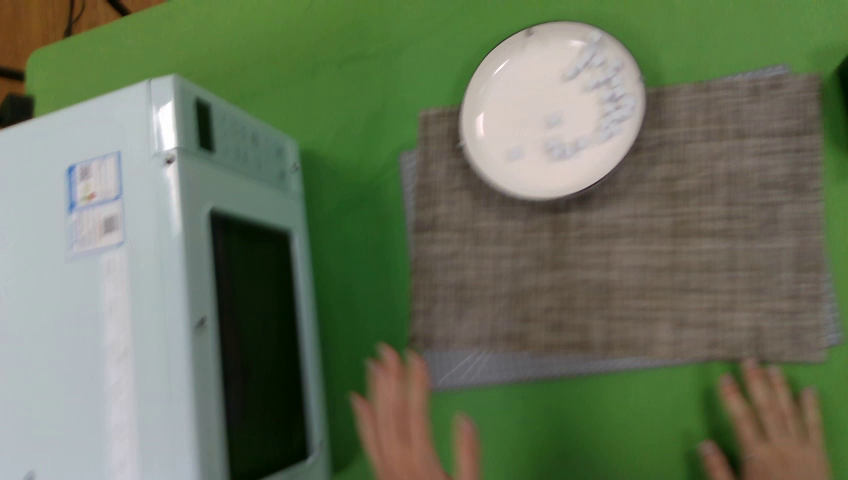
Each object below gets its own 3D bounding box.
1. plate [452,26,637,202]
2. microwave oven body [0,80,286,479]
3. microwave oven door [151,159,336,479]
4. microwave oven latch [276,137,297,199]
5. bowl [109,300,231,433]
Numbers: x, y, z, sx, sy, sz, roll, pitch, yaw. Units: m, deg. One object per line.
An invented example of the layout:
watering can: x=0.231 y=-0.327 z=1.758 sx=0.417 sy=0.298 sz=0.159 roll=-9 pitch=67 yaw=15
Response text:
plate: x=0.138 y=-0.143 z=0.706 sx=0.208 sy=0.038 sz=0.208 roll=-3 pitch=82 yaw=18
microwave oven body: x=-0.329 y=0.099 z=0.712 sx=0.325 sy=0.261 sz=0.440 roll=-12 pitch=81 yaw=15
microwave oven door: x=-0.187 y=0.109 z=0.660 sx=0.039 sy=0.245 sz=0.354 roll=-13 pitch=80 yaw=16
microwave oven latch: x=-0.188 y=-0.092 z=0.791 sx=0.030 sy=0.029 sz=0.079 roll=-13 pitch=81 yaw=15
bowl: x=-0.287 y=0.148 z=0.726 sx=0.151 sy=0.077 sz=0.151 roll=-2 pitch=82 yaw=17
